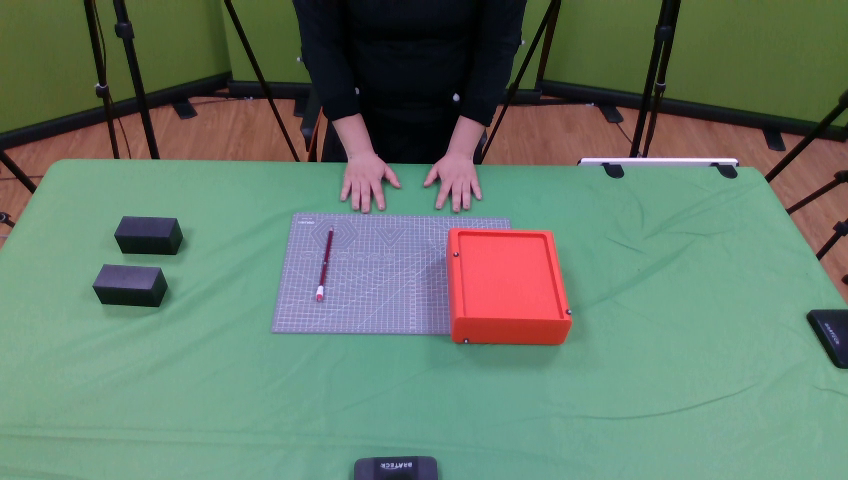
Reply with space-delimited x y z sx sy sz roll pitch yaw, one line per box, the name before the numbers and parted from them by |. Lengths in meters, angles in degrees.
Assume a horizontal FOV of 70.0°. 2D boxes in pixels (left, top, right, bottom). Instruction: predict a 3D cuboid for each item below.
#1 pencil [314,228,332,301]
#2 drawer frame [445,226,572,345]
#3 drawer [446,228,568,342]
pencil | -0.189 0.042 1.149 0.012 0.012 0.193 3 43 -1
drawer frame | 0.144 0.078 1.087 0.202 0.083 0.212 2 47 -4
drawer | 0.142 0.078 1.089 0.195 0.073 0.210 2 47 -4
